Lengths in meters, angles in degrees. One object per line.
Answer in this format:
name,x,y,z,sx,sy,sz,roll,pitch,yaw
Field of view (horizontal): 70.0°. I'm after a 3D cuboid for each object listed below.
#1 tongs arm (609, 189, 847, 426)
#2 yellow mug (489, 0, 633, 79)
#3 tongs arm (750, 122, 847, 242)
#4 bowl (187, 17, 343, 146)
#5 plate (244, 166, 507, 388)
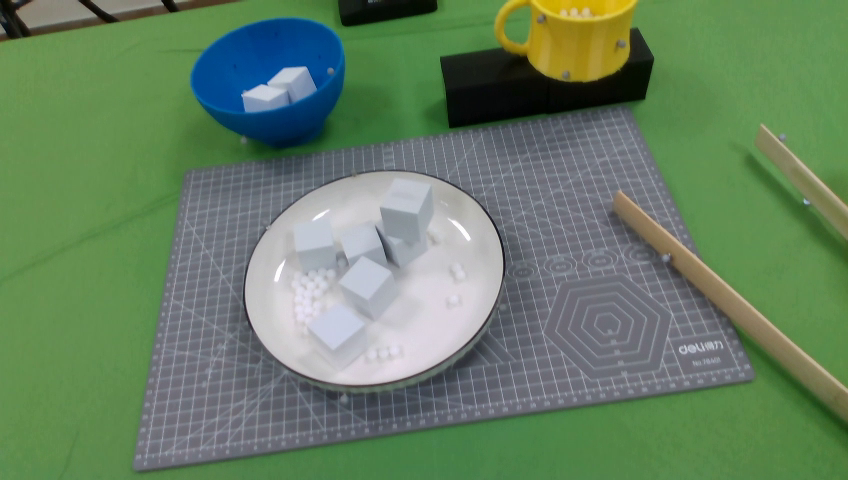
tongs arm,0.271,0.085,0.422,0.028,0.028,0.383,-29,56,-18
yellow mug,0.127,-0.205,0.569,0.131,0.064,0.099,-5,53,3
tongs arm,0.344,0.051,0.435,0.051,0.027,0.380,-20,55,-8
bowl,-0.149,-0.149,0.614,0.151,0.077,0.150,-3,53,5
plate,-0.038,0.027,0.491,0.207,0.039,0.205,-3,53,5
